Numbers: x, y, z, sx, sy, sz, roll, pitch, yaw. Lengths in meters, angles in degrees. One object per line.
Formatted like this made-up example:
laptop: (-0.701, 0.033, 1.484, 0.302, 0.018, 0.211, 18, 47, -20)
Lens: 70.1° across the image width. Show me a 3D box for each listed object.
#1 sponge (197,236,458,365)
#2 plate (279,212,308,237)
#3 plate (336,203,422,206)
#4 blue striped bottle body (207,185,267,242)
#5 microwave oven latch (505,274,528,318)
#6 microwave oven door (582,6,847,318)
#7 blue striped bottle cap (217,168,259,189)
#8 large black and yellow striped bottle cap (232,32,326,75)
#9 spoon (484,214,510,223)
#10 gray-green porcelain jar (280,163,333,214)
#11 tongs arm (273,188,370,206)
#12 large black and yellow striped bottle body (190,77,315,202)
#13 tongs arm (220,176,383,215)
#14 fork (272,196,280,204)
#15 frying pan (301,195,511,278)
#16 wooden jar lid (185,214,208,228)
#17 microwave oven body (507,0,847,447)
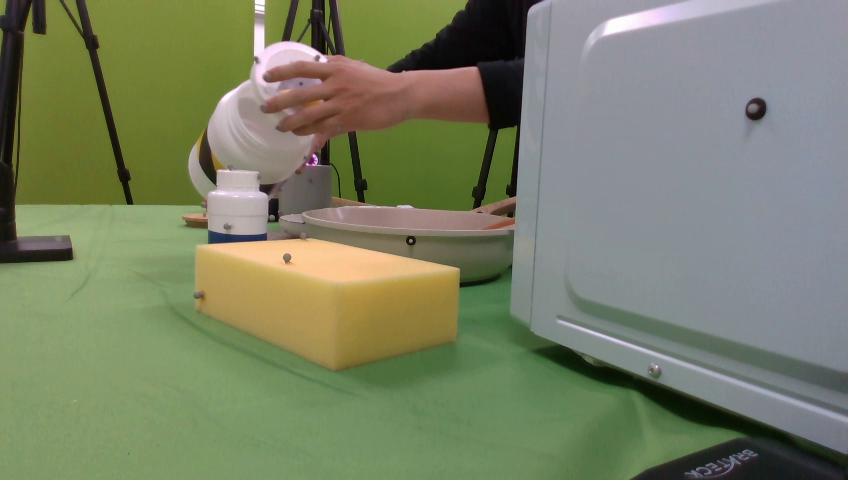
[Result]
sponge: (-0.087, 0.039, 0.500, 0.119, 0.061, 0.206, -5, 9, -45)
plate: (-0.139, -0.022, 1.021, 0.209, 0.038, 0.209, 2, 8, 0)
plate: (-0.089, -0.054, 1.309, 0.208, 0.039, 0.207, 2, 8, 0)
blue striped bottle body: (-0.204, -0.016, 0.663, 0.063, 0.120, 0.063, 2, 7, 0)
microwave oven latch: (0.100, 0.041, 0.472, 0.079, 0.029, 0.030, -2, 8, -31)
microwave oven door: (0.295, -0.067, 0.569, 0.358, 0.243, 0.039, -3, 8, -31)
blue striped bottle cap: (-0.202, -0.067, 0.656, 0.044, 0.020, 0.044, 1, 10, 0)
large black and yellow striped bottle cap: (-0.179, -0.230, 0.753, 0.115, 0.019, 0.115, -13, 4, 1)
spoon: (0.076, -0.013, 0.794, 0.193, 0.021, 0.042, -24, -1, 12)
gray-green porcelain jar: (-0.238, -0.092, 1.221, 0.106, 0.126, 0.106, 2, 7, 0)
tongs arm: (-0.241, -0.095, 1.373, 0.387, 0.026, 0.050, 9, 0, -37)
large black and yellow striped bottle body: (-0.237, -0.131, 0.841, 0.131, 0.130, 0.183, -4, -18, -37)
tongs arm: (-0.285, -0.104, 1.445, 0.389, 0.027, 0.028, 9, -4, -23)
fork: (-0.396, -0.143, 1.486, 0.028, 0.018, 0.208, 20, -26, 45)
frying pan: (0.051, -0.028, 0.864, 0.305, 0.102, 0.490, 8, 18, 36)
wooden jar lid: (-0.404, -0.037, 1.169, 0.108, 0.020, 0.108, 3, 7, 0)
microwave oven body: (0.331, -0.042, 0.425, 0.444, 0.260, 0.324, -2, 8, -31)
